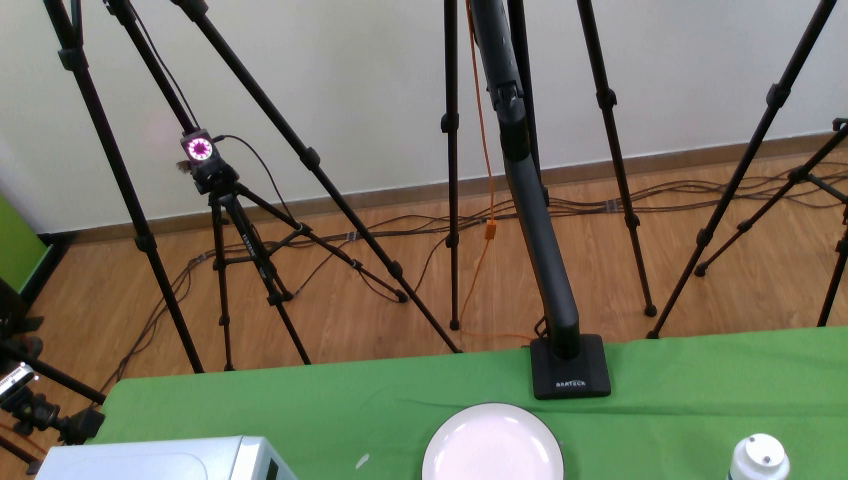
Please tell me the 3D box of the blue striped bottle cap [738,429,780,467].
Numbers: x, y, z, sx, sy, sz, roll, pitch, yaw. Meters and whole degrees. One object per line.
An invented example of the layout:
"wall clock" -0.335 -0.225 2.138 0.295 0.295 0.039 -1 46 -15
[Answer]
"blue striped bottle cap" 0.408 0.254 0.738 0.044 0.021 0.044 -8 46 9

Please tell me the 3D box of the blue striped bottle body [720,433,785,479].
"blue striped bottle body" 0.419 0.290 0.772 0.063 0.122 0.062 -9 44 9

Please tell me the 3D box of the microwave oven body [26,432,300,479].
"microwave oven body" -0.338 0.484 0.691 0.325 0.263 0.437 -6 45 9

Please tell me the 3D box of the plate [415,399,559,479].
"plate" 0.092 0.334 0.888 0.207 0.039 0.205 -8 44 8
